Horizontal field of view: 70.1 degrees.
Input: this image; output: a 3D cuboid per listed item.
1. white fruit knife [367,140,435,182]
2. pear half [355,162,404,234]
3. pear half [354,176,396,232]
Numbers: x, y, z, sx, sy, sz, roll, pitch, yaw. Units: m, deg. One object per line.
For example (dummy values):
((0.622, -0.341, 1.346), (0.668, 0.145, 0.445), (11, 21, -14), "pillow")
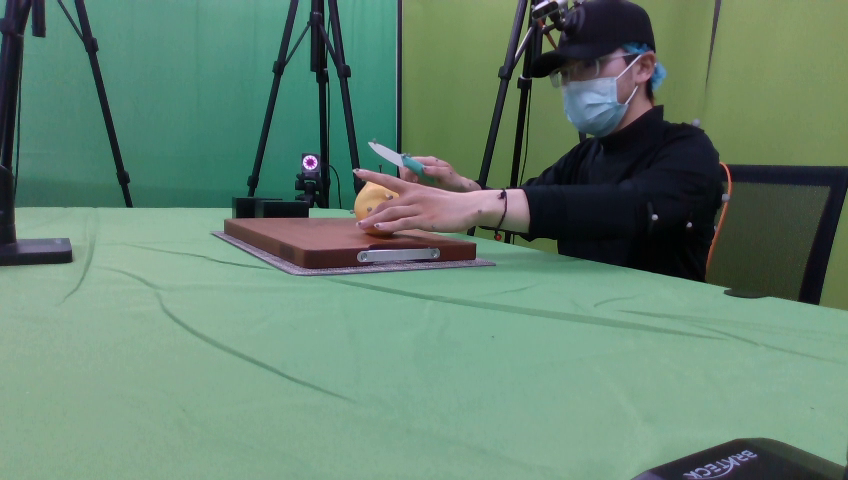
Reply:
((-0.038, -0.145, 1.089), (0.016, 0.027, 0.208), (-8, -14, 31), "white fruit knife")
((-0.063, -0.063, 0.925), (0.077, 0.110, 0.055), (-9, 13, -34), "pear half")
((-0.082, -0.058, 0.956), (0.071, 0.088, 0.031), (-13, 13, -33), "pear half")
